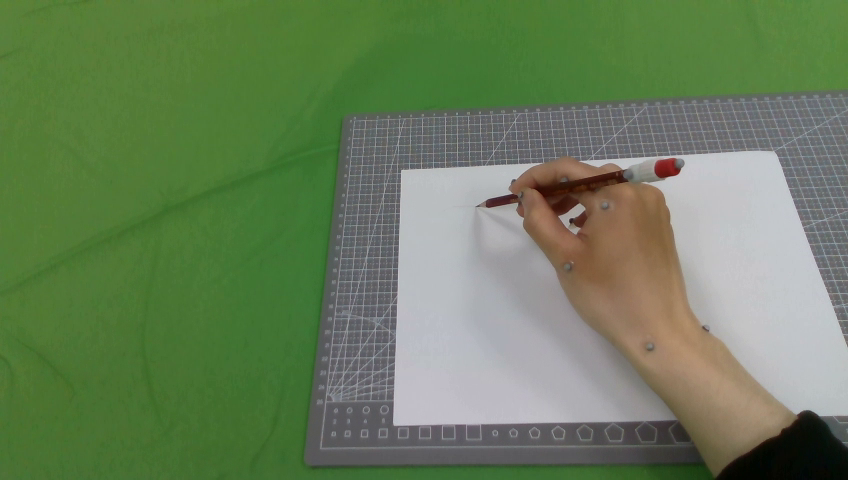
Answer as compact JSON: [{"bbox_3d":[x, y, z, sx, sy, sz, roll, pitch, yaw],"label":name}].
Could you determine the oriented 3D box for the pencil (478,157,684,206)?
[{"bbox_3d":[0.084,-0.033,0.385,0.012,0.193,0.012,1,87,-25],"label":"pencil"}]
